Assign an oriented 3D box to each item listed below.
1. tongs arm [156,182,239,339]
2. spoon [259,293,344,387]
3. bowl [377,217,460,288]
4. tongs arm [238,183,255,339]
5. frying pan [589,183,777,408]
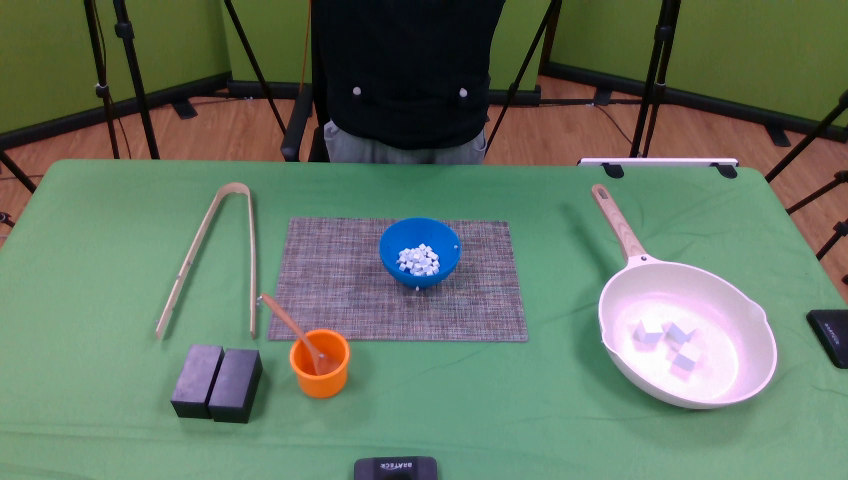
[{"bbox_3d":[-0.415,0.023,1.134,0.051,0.026,0.382,3,45,-2],"label":"tongs arm"},{"bbox_3d":[-0.191,0.155,0.947,0.021,0.194,0.041,-12,28,51],"label":"spoon"},{"bbox_3d":[-0.011,0.036,1.118,0.151,0.077,0.150,2,46,-2],"label":"bowl"},{"bbox_3d":[-0.334,0.024,1.144,0.028,0.028,0.385,-9,48,-9],"label":"tongs arm"},{"bbox_3d":[0.412,0.079,1.096,0.307,0.103,0.484,-8,56,-13],"label":"frying pan"}]
